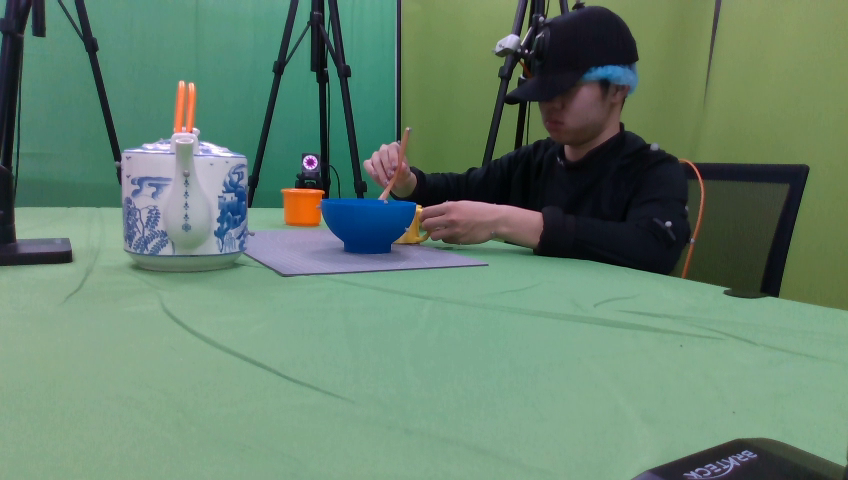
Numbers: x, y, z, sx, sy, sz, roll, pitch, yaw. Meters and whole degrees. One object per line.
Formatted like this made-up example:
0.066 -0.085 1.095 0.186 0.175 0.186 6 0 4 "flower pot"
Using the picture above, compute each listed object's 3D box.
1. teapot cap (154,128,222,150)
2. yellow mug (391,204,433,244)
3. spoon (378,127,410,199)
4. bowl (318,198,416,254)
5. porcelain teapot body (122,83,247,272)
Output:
-0.294 -0.117 0.754 0.085 0.044 0.085 4 9 0 "teapot cap"
-0.042 -0.030 1.070 0.130 0.064 0.100 7 9 28 "yellow mug"
-0.059 -0.109 1.077 0.022 0.193 0.041 23 -3 -21 "spoon"
-0.089 -0.022 0.941 0.151 0.077 0.151 2 7 0 "bowl"
-0.286 -0.075 0.733 0.146 0.225 0.204 0 8 -24 "porcelain teapot body"
